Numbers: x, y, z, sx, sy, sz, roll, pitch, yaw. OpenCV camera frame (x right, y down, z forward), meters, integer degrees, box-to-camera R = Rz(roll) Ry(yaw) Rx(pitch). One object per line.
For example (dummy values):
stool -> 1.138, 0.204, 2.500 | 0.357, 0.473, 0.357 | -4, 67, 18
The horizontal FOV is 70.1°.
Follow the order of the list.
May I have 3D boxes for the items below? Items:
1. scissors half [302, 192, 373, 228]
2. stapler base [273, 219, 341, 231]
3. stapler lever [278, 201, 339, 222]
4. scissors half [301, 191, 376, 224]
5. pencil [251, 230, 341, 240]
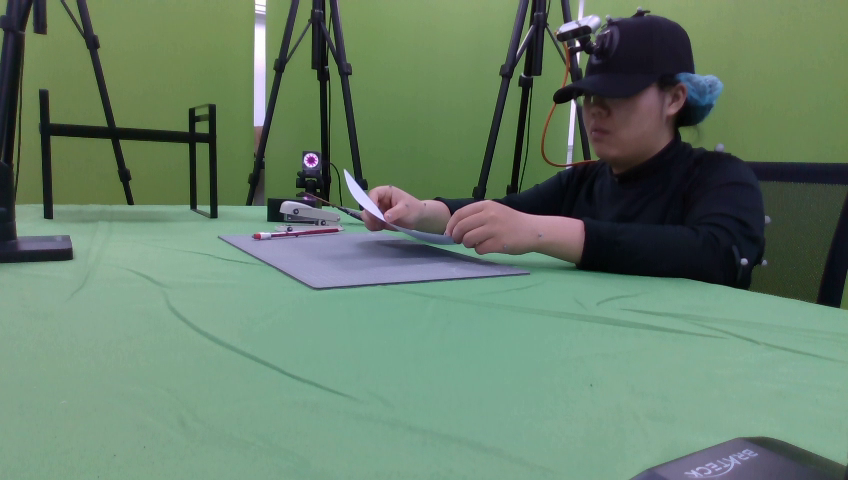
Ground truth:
scissors half -> -0.191, -0.068, 1.314 | 0.175, 0.013, 0.040 | 26, 17, 7
stapler base -> -0.226, -0.030, 1.172 | 0.131, 0.024, 0.041 | 0, 10, -34
stapler lever -> -0.223, -0.054, 1.170 | 0.119, 0.040, 0.026 | -1, 11, -34
scissors half -> -0.189, -0.073, 1.334 | 0.175, 0.013, 0.040 | 22, 12, -10
pencil -> -0.215, -0.011, 1.049 | 0.012, 0.012, 0.195 | 9, 9, 39
